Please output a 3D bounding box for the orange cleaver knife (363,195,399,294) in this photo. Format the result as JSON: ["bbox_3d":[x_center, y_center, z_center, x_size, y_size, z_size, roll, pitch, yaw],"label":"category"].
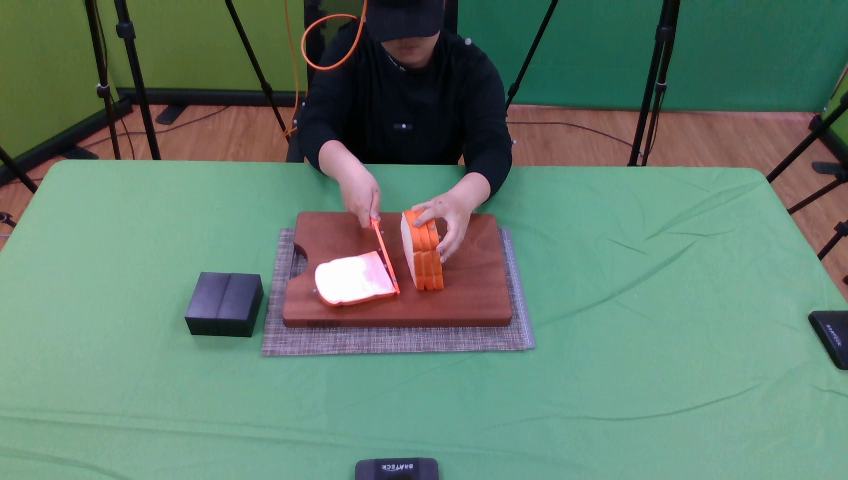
[{"bbox_3d":[-0.078,0.005,1.110,0.012,0.077,0.210,-18,52,-4],"label":"orange cleaver knife"}]

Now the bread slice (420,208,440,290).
[{"bbox_3d":[0.011,0.012,1.076,0.018,0.135,0.106,-9,50,-7],"label":"bread slice"}]

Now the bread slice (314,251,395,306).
[{"bbox_3d":[-0.129,0.071,1.078,0.132,0.019,0.104,-10,49,-21],"label":"bread slice"}]
